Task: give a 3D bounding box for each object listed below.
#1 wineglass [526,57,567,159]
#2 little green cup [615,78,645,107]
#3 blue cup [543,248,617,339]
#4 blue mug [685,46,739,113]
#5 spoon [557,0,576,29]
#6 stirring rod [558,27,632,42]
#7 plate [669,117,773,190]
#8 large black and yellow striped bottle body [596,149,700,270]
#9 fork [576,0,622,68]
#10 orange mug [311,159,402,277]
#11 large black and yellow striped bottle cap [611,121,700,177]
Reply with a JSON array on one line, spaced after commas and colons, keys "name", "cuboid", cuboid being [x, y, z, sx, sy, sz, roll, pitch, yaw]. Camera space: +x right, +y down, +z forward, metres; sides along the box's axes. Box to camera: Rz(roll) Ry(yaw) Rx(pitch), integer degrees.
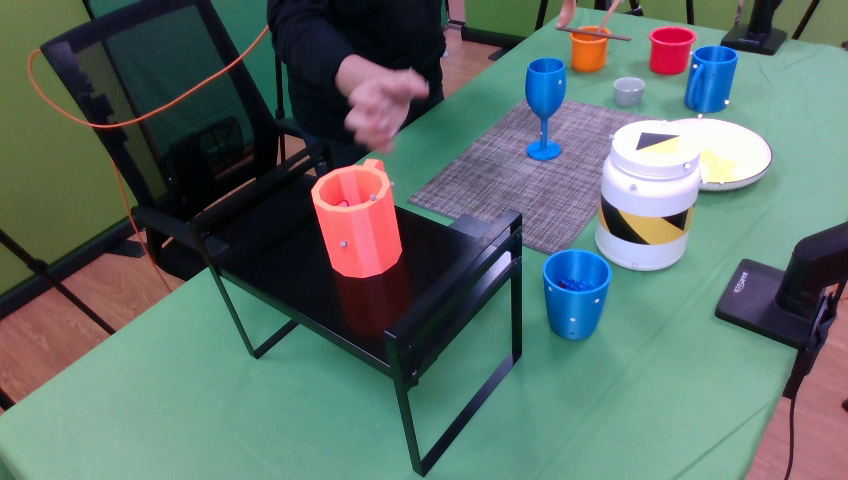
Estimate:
[{"name": "wineglass", "cuboid": [0.221, -0.236, 1.097, 0.074, 0.173, 0.073, -5, 41, 4]}, {"name": "little green cup", "cuboid": [0.426, -0.306, 1.257, 0.061, 0.039, 0.061, -4, 40, 4]}, {"name": "blue cup", "cuboid": [0.199, 0.076, 0.797, 0.092, 0.100, 0.092, -4, 39, 4]}, {"name": "blue mug", "cuboid": [0.556, -0.310, 1.190, 0.117, 0.106, 0.081, -32, 46, -25]}, {"name": "spoon", "cuboid": [0.252, -0.456, 1.024, 0.022, 0.193, 0.041, 2, 9, -20]}, {"name": "stirring rod", "cuboid": [0.381, -0.463, 1.356, 0.175, 0.006, 0.014, 22, 48, 30]}, {"name": "plate", "cuboid": [0.495, -0.148, 1.063, 0.209, 0.038, 0.208, -5, 40, 4]}, {"name": "large black and yellow striped bottle body", "cuboid": [0.323, -0.062, 0.877, 0.131, 0.185, 0.130, -5, 40, 4]}, {"name": "fork", "cuboid": [0.409, -0.484, 1.381, 0.028, 0.019, 0.207, 37, 101, 45]}, {"name": "orange mug", "cuboid": [-0.069, -0.034, 0.694, 0.083, 0.101, 0.126, 5, 46, 16]}, {"name": "large black and yellow striped bottle cap", "cuboid": [0.315, -0.126, 0.823, 0.115, 0.019, 0.114, -4, 42, 4]}]
